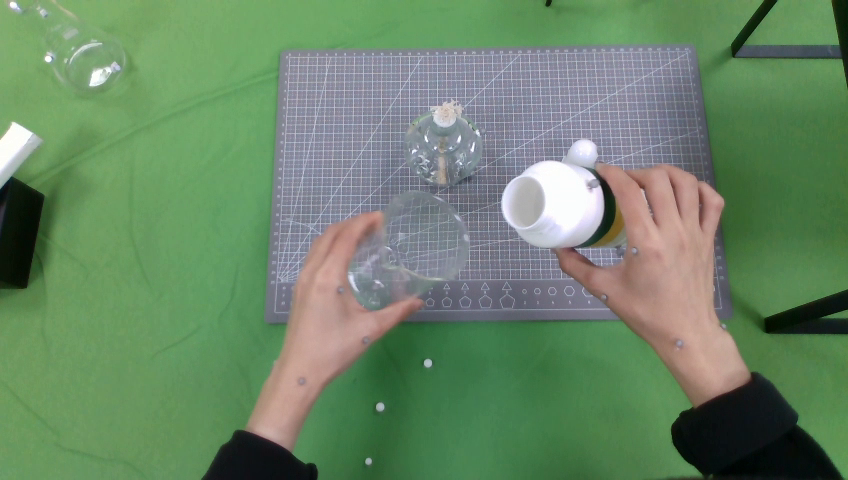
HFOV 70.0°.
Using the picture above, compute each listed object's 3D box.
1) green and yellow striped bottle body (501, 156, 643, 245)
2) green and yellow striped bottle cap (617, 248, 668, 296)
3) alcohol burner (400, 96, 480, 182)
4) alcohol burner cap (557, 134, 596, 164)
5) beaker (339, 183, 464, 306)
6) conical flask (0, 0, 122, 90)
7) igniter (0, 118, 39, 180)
[{"bbox_3d":[0.109,-0.028,0.453,0.063,0.120,0.063,-1,89,45],"label":"green and yellow striped bottle body"},{"bbox_3d":[0.211,0.030,0.585,0.045,0.020,0.045,0,76,1],"label":"green and yellow striped bottle cap"},{"bbox_3d":[0.016,-0.100,0.572,0.078,0.119,0.077,0,73,-1],"label":"alcohol burner"},{"bbox_3d":[0.154,-0.088,0.604,0.034,0.048,0.033,0,75,0],"label":"alcohol burner cap"},{"bbox_3d":[-0.025,0.011,0.500,0.084,0.100,0.074,-37,89,-35],"label":"beaker"},{"bbox_3d":[-0.367,-0.211,0.606,0.075,0.122,0.075,0,74,1],"label":"conical flask"},{"bbox_3d":[-0.456,0.004,0.550,0.057,0.025,0.276,29,76,18],"label":"igniter"}]
